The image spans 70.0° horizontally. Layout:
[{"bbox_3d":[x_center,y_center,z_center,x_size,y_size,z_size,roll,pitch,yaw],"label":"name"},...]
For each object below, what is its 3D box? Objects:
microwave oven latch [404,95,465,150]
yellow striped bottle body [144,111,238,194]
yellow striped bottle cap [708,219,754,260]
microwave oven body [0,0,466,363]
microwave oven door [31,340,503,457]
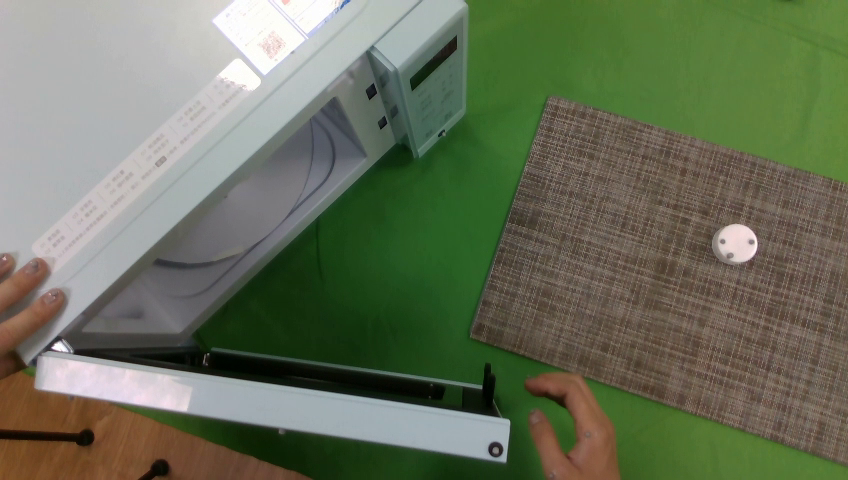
[{"bbox_3d":[0.012,-0.140,0.687,0.079,0.029,0.030,-43,82,-3],"label":"microwave oven latch"},{"bbox_3d":[-0.232,-0.087,0.601,0.063,0.120,0.062,0,84,-2],"label":"yellow striped bottle body"},{"bbox_3d":[0.342,0.000,0.676,0.044,0.019,0.044,-1,82,4],"label":"yellow striped bottle cap"},{"bbox_3d":[-0.225,-0.136,0.600,0.441,0.261,0.325,-44,83,-3],"label":"microwave oven body"},{"bbox_3d":[-0.110,0.134,0.552,0.355,0.244,0.039,7,81,4],"label":"microwave oven door"}]
